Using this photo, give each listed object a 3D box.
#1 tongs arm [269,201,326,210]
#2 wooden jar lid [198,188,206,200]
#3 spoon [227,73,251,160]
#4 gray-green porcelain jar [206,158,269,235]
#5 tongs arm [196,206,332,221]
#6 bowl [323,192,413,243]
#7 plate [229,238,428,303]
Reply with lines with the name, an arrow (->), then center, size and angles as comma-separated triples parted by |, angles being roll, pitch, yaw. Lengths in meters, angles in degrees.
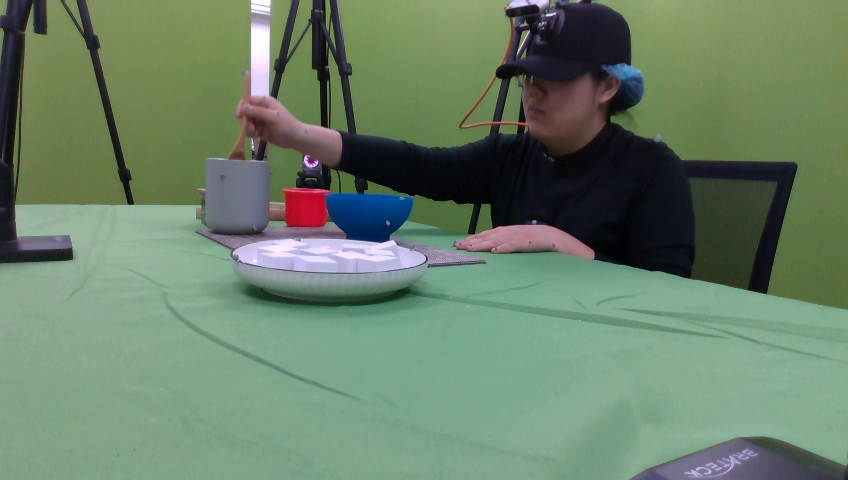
tongs arm -> -0.308, -0.072, 1.410 | 0.386, 0.026, 0.050 | 3, 8, -6
wooden jar lid -> -0.382, -0.088, 1.175 | 0.108, 0.020, 0.108 | 3, 8, 0
spoon -> -0.314, -0.194, 1.046 | 0.021, 0.193, 0.042 | 7, -2, 44
gray-green porcelain jar -> -0.323, -0.076, 1.048 | 0.106, 0.126, 0.106 | 3, 7, 0
tongs arm -> -0.294, -0.057, 1.330 | 0.389, 0.028, 0.028 | 0, 6, -20
bowl -> -0.094, -0.037, 1.015 | 0.151, 0.077, 0.151 | 3, 7, 0
plate -> -0.099, 0.032, 0.651 | 0.209, 0.038, 0.209 | 3, 8, 0
